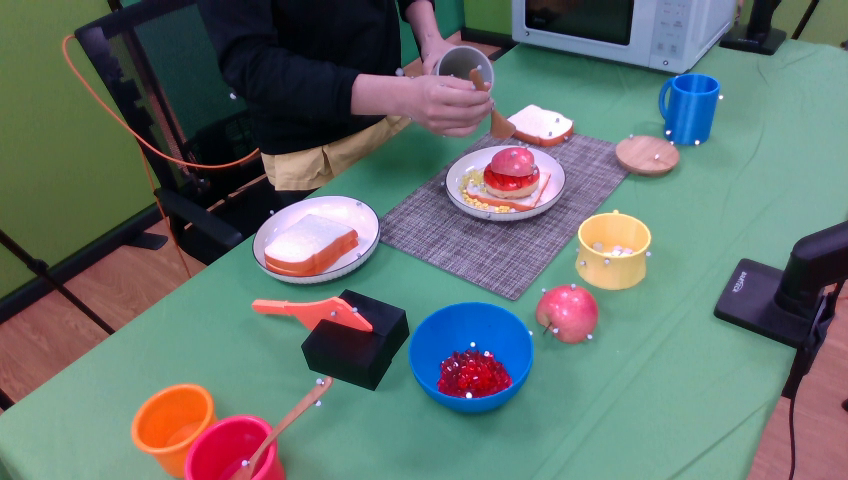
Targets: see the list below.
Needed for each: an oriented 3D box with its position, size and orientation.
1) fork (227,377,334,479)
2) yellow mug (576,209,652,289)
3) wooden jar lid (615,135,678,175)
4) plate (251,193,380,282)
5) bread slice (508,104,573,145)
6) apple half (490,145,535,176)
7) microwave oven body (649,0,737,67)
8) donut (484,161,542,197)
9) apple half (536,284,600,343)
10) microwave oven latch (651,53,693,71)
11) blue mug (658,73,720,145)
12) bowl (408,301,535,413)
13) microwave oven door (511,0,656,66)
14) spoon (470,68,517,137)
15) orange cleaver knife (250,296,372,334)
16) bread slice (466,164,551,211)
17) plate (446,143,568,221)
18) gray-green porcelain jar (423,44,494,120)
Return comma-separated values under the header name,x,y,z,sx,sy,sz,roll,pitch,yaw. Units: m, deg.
name,x,y,z,sx,sy,sz,roll,pitch,yaw
fork,-0.162,0.216,0.647,0.207,0.019,0.028,-49,41,16
yellow mug,0.279,0.004,0.893,0.099,0.064,0.130,5,42,14
wooden jar lid,0.398,-0.151,1.086,0.108,0.021,0.108,-2,42,2
plate,-0.174,-0.001,0.984,0.209,0.038,0.208,-4,40,4
bread slice,0.231,-0.231,1.205,0.105,0.019,0.130,-36,47,-29
apple half,0.147,-0.138,0.994,0.081,0.033,0.081,1,37,0
microwave oven body,0.475,-0.602,1.411,0.438,0.261,0.327,23,50,32
donut,0.149,-0.109,1.016,0.099,0.048,0.098,-4,40,4
apple half,0.196,0.091,0.815,0.075,0.053,0.080,-22,42,-20
microwave oven latch,0.532,-0.386,1.301,0.078,0.029,0.030,27,52,34
blue mug,0.483,-0.250,1.127,0.082,0.106,0.115,-26,44,-19
bowl,0.060,0.156,0.739,0.151,0.077,0.150,-4,40,4
microwave oven door,0.351,-0.540,1.349,0.353,0.245,0.039,24,50,31
spoon,0.095,-0.192,0.860,0.041,0.195,0.021,-17,65,17
orange cleaver knife,-0.158,0.103,0.828,0.210,0.078,0.012,-4,43,39
bread slice,0.141,-0.092,1.042,0.133,0.018,0.107,11,43,19
plate,0.142,-0.097,1.045,0.207,0.039,0.206,-4,40,4
gray-green porcelain jar,0.057,-0.282,1.104,0.106,0.106,0.126,-20,-1,-14
